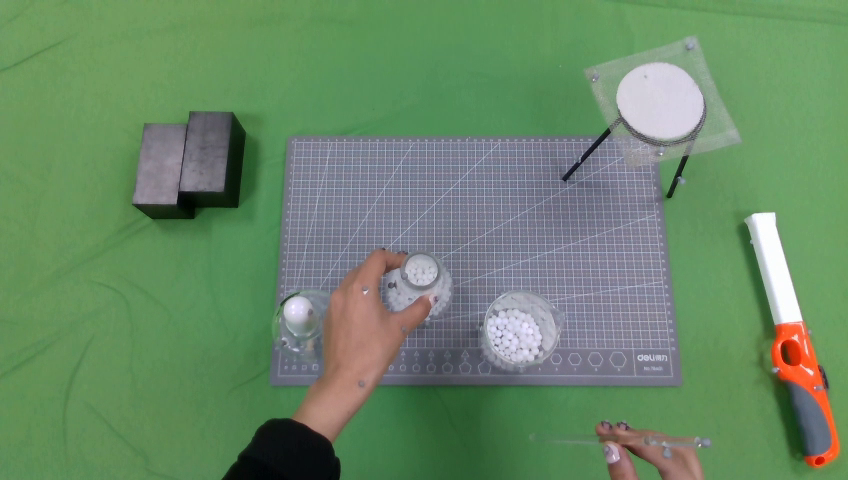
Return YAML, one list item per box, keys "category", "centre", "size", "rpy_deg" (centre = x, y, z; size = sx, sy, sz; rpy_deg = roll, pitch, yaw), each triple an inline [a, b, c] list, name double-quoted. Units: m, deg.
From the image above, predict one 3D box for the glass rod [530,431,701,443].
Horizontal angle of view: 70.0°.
- category: "glass rod"
  centre: [0.134, 0.151, 0.464]
  size: [0.008, 0.200, 0.008]
  rpy_deg: [6, 72, -20]

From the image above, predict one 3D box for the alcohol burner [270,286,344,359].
- category: "alcohol burner"
  centre: [-0.124, 0.082, 0.625]
  size: [0.078, 0.120, 0.077]
  rpy_deg: [0, 72, -1]

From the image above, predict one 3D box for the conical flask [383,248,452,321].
- category: "conical flask"
  centre: [-0.006, 0.038, 0.605]
  size: [0.075, 0.122, 0.075]
  rpy_deg: [0, 77, -2]

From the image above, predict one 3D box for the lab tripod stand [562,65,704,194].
- category: "lab tripod stand"
  centre: [0.235, -0.117, 0.672]
  size: [0.148, 0.132, 0.147]
  rpy_deg: [0, 75, 0]

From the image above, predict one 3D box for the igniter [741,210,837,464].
- category: "igniter"
  centre: [0.399, 0.099, 0.665]
  size: [0.057, 0.025, 0.275]
  rpy_deg: [-3, 74, -12]

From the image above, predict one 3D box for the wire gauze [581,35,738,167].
- category: "wire gauze"
  centre: [0.237, -0.140, 0.609]
  size: [0.125, 0.011, 0.121]
  rpy_deg: [-16, 76, -4]

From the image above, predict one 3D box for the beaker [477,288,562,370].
- category: "beaker"
  centre: [0.095, 0.095, 0.628]
  size: [0.084, 0.101, 0.073]
  rpy_deg: [-18, 74, -5]

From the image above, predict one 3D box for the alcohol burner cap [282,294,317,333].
- category: "alcohol burner cap"
  centre: [-0.123, 0.069, 0.591]
  size: [0.034, 0.048, 0.033]
  rpy_deg: [2, 66, -5]
